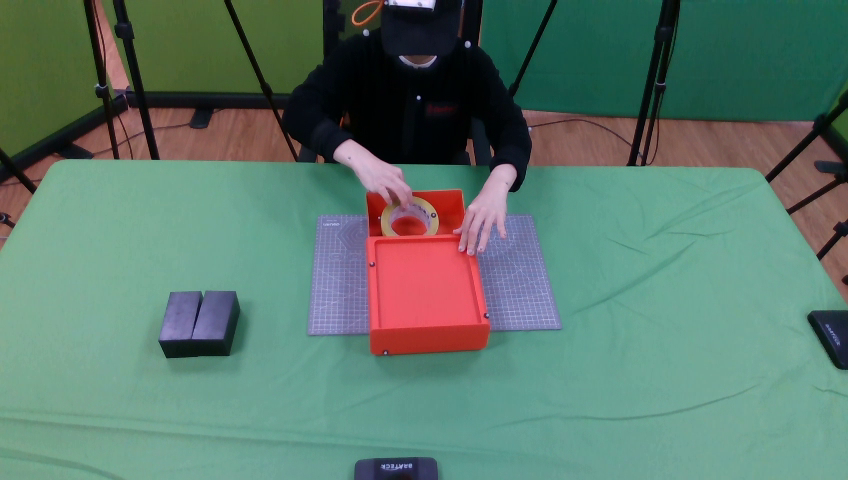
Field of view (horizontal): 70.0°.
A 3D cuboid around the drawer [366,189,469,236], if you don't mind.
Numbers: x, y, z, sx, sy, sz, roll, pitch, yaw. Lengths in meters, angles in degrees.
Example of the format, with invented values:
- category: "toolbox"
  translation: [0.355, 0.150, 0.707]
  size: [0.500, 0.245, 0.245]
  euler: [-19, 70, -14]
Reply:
- category: "drawer"
  translation: [-0.011, -0.002, 1.157]
  size: [0.195, 0.073, 0.210]
  euler: [-1, 47, -6]

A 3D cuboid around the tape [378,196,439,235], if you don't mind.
- category: "tape"
  translation: [-0.028, -0.024, 1.159]
  size: [0.117, 0.053, 0.116]
  euler: [2, 64, -4]

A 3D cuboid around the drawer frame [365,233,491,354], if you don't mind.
- category: "drawer frame"
  translation: [0.000, 0.088, 1.066]
  size: [0.202, 0.083, 0.212]
  euler: [-2, 47, -7]
